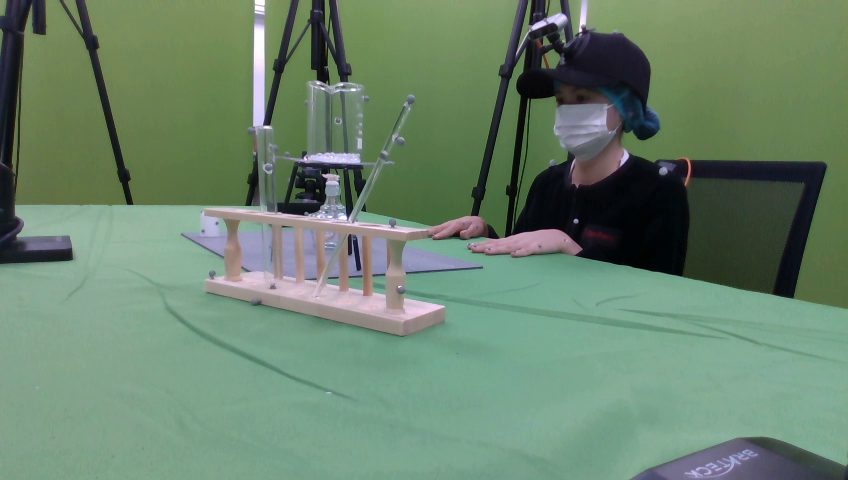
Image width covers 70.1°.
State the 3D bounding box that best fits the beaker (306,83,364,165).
[{"bbox_3d":[-0.115,-0.147,0.775,0.074,0.100,0.084,2,8,-2],"label":"beaker"}]

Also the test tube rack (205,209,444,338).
[{"bbox_3d":[-0.100,0.021,0.565,0.241,0.085,0.067,7,9,32],"label":"test tube rack"}]

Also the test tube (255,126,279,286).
[{"bbox_3d":[-0.147,-0.031,0.566,0.017,0.150,0.017,-1,8,0],"label":"test tube"}]

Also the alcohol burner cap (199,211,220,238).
[{"bbox_3d":[-0.355,-0.027,1.002,0.034,0.048,0.034,2,7,0],"label":"alcohol burner cap"}]

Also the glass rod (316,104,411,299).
[{"bbox_3d":[-0.054,-0.026,0.516,0.008,0.199,0.008,23,24,-11],"label":"glass rod"}]

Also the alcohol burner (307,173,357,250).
[{"bbox_3d":[-0.144,-0.045,0.940,0.078,0.119,0.078,1,8,0],"label":"alcohol burner"}]

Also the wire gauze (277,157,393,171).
[{"bbox_3d":[-0.122,-0.100,0.786,0.122,0.011,0.124,-5,14,-38],"label":"wire gauze"}]

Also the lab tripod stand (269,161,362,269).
[{"bbox_3d":[-0.125,-0.036,0.794,0.148,0.131,0.148,5,7,0],"label":"lab tripod stand"}]
